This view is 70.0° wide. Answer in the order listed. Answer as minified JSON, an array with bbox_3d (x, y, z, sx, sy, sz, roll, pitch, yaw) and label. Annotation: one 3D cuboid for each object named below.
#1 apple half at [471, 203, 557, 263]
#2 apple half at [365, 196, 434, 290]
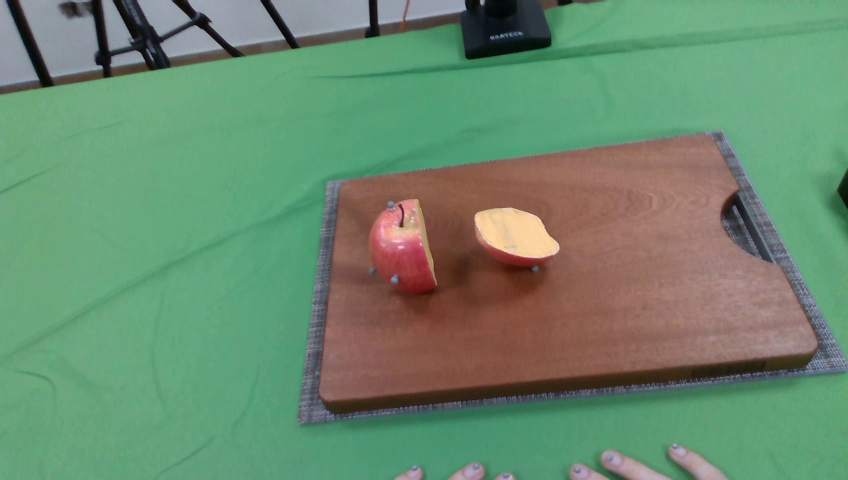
[{"bbox_3d":[0.076,-0.001,0.550,0.081,0.033,0.080,10,36,-7],"label":"apple half"},{"bbox_3d":[-0.024,0.007,0.541,0.053,0.075,0.080,-15,52,4],"label":"apple half"}]
